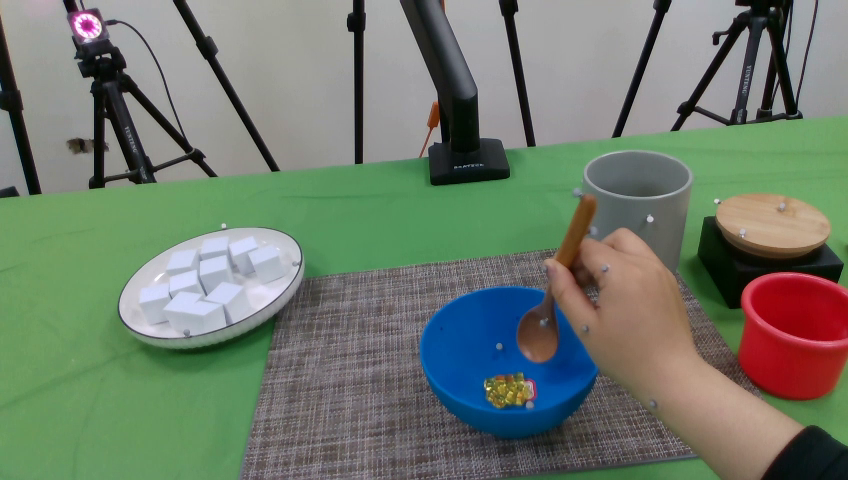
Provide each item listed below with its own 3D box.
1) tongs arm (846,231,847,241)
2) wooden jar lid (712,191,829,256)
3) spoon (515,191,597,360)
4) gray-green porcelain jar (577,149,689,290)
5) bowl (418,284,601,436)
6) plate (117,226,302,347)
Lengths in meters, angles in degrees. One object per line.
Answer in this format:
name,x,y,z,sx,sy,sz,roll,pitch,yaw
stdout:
tongs arm,0.449,0.098,0.534,0.028,0.028,0.384,4,35,11
wooden jar lid,0.360,-0.017,0.636,0.108,0.021,0.107,-5,34,4
spoon,0.099,0.035,0.458,0.021,0.195,0.041,-32,60,-24
gray-green porcelain jar,0.219,-0.018,0.649,0.106,0.127,0.105,-5,34,4
bowl,0.073,0.114,0.522,0.151,0.077,0.150,-4,34,3
plate,-0.242,0.054,0.704,0.209,0.038,0.207,-5,34,4
